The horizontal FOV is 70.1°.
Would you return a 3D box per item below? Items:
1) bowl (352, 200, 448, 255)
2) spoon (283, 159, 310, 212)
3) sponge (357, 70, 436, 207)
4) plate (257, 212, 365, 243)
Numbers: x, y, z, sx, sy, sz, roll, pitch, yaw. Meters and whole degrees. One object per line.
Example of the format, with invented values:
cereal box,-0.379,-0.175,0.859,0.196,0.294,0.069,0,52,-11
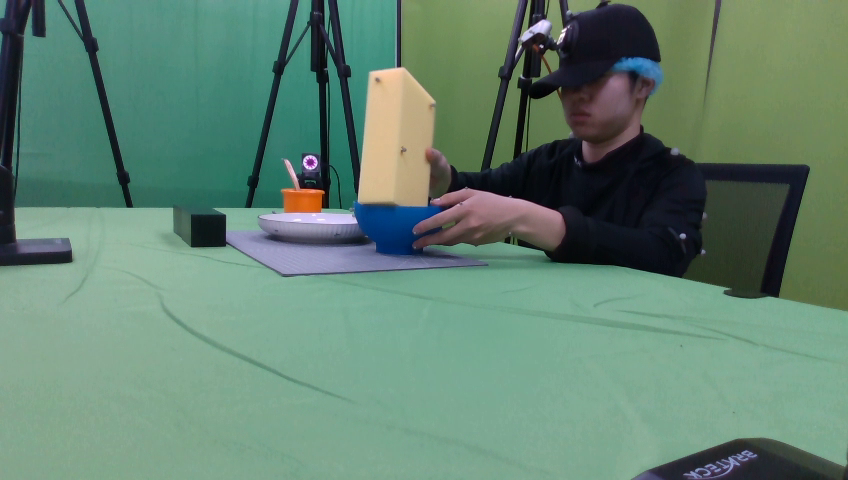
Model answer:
bowl,-0.039,-0.020,0.946,0.151,0.077,0.151,3,8,0
spoon,-0.279,-0.111,1.324,0.042,0.193,0.021,3,-39,-35
sponge,-0.038,-0.140,0.938,0.060,0.206,0.119,0,-12,25
plate,-0.189,-0.023,1.072,0.209,0.038,0.209,3,7,0
